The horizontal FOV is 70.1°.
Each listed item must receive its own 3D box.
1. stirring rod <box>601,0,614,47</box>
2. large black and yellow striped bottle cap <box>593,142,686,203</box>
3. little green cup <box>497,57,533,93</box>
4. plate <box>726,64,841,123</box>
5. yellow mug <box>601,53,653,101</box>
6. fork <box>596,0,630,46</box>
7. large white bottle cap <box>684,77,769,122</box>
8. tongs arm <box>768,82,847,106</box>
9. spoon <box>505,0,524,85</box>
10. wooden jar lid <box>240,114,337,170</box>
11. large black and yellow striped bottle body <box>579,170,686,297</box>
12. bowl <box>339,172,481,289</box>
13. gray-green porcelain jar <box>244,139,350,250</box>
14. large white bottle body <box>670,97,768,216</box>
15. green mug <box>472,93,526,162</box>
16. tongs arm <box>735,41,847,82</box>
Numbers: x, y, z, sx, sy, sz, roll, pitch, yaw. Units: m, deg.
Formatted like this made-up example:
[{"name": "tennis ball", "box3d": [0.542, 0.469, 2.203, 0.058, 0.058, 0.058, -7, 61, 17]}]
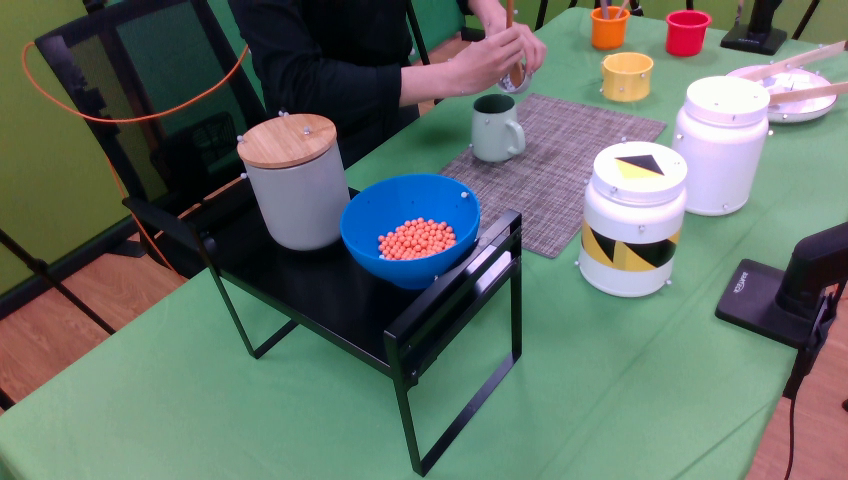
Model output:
[{"name": "stirring rod", "box3d": [0.439, -0.552, 1.463, 0.014, 0.006, 0.175, -7, 83, 3]}, {"name": "large black and yellow striped bottle cap", "box3d": [0.280, -0.090, 0.786, 0.115, 0.019, 0.114, -5, 41, 5]}, {"name": "little green cup", "box3d": [0.168, -0.297, 1.101, 0.061, 0.061, 0.039, 32, 18, 37]}, {"name": "plate", "box3d": [0.695, -0.282, 1.189, 0.207, 0.039, 0.206, -4, 40, 4]}, {"name": "yellow mug", "box3d": [0.423, -0.354, 1.292, 0.100, 0.064, 0.129, -23, 41, -16]}, {"name": "fork", "box3d": [0.481, -0.556, 1.452, 0.028, 0.019, 0.207, 40, 103, 39]}, {"name": "large white bottle cap", "box3d": [0.448, -0.210, 0.898, 0.115, 0.018, 0.114, -4, 40, 4]}, {"name": "tongs arm", "box3d": [0.738, -0.282, 1.134, 0.388, 0.028, 0.028, -9, 46, -5]}, {"name": "spoon", "box3d": [0.149, -0.330, 1.014, 0.021, 0.195, 0.041, -27, 61, 2]}, {"name": "wooden jar lid", "box3d": [-0.149, -0.106, 0.673, 0.108, 0.021, 0.108, -6, 39, 5]}, {"name": "large black and yellow striped bottle body", "box3d": [0.287, -0.027, 0.841, 0.131, 0.185, 0.130, -4, 40, 4]}, {"name": "bowl", "box3d": [-0.011, 0.001, 0.660, 0.151, 0.077, 0.150, -5, 41, 5]}, {"name": "gray-green porcelain jar", "box3d": [-0.143, -0.060, 0.714, 0.106, 0.127, 0.105, -4, 41, 4]}, {"name": "large white bottle body", "box3d": [0.458, -0.146, 0.952, 0.130, 0.185, 0.130, -4, 40, 4]}, {"name": "green mug", "box3d": [0.144, -0.202, 1.122, 0.093, 0.105, 0.124, -29, 45, -23]}, {"name": "tongs arm", "box3d": [0.712, -0.332, 1.194, 0.386, 0.026, 0.050, -19, 45, -16]}]
